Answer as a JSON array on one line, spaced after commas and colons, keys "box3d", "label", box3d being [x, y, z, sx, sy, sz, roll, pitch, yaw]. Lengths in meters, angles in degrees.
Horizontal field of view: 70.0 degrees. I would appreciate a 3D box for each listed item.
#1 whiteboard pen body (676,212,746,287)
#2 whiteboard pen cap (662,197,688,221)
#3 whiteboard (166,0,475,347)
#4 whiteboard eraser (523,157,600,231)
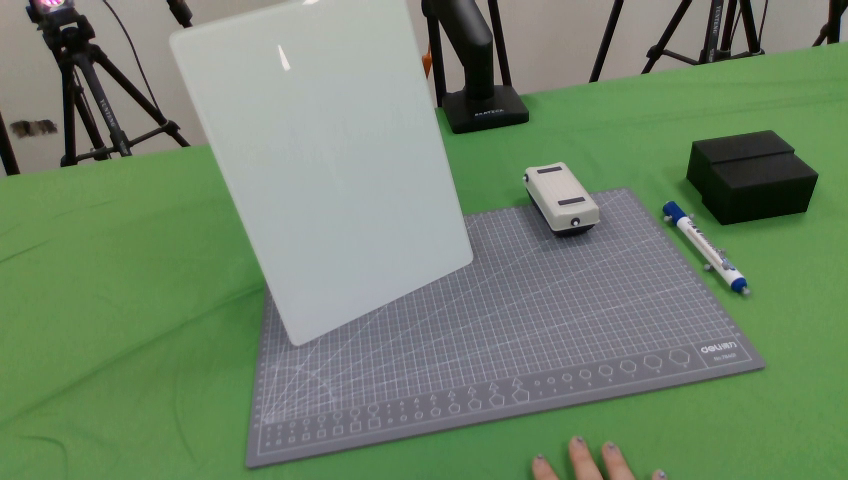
[{"box3d": [0.298, 0.001, 0.647, 0.017, 0.017, 0.139, -11, 38, -4], "label": "whiteboard pen body"}, {"box3d": [0.287, -0.034, 0.691, 0.018, 0.018, 0.033, -12, 38, -5], "label": "whiteboard pen cap"}, {"box3d": [-0.105, -0.087, 0.635, 0.217, 0.307, 0.142, -24, 22, -20], "label": "whiteboard"}, {"box3d": [0.160, -0.054, 0.714, 0.055, 0.042, 0.111, -13, 39, -4], "label": "whiteboard eraser"}]
